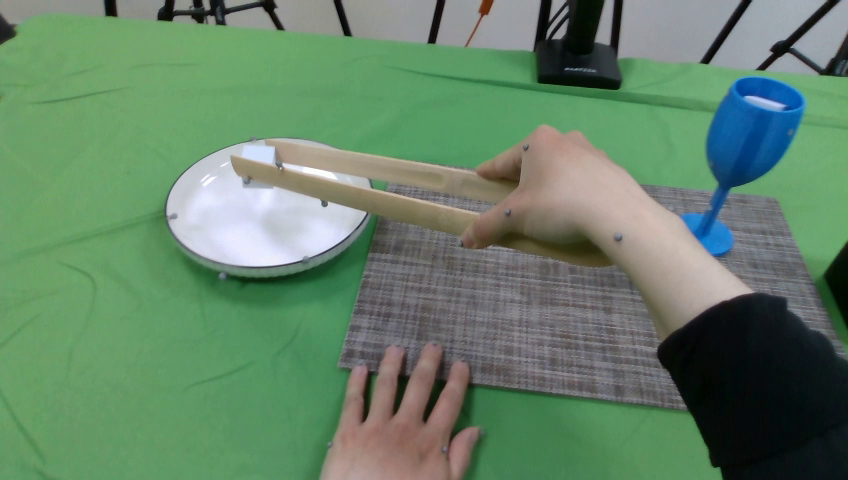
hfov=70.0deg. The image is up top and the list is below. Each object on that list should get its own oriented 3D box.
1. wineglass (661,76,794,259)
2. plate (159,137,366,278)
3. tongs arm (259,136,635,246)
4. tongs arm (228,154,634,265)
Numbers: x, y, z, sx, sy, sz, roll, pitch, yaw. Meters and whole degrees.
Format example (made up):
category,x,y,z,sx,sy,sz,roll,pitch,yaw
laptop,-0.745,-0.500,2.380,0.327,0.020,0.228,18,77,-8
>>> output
category,x,y,z,sx,sy,sz,roll,pitch,yaw
wineglass,0.292,-0.068,0.595,0.074,0.174,0.073,2,44,-1
plate,-0.164,-0.034,0.635,0.209,0.038,0.207,2,44,-1
tongs arm,-0.008,-0.053,0.525,0.384,0.028,0.028,15,35,31
tongs arm,-0.023,-0.038,0.506,0.382,0.027,0.050,17,39,33
